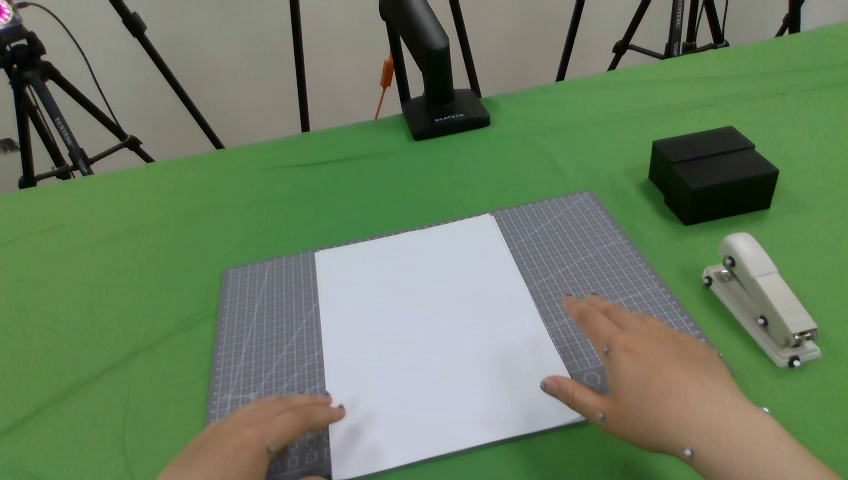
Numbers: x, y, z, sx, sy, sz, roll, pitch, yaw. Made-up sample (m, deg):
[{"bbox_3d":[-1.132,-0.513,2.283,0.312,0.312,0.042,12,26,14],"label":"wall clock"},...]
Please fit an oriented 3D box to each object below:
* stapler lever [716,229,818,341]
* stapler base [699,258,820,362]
[{"bbox_3d":[0.302,0.036,0.539,0.027,0.040,0.116,-14,40,-4],"label":"stapler lever"},{"bbox_3d":[0.304,0.054,0.556,0.041,0.025,0.129,-14,40,-4],"label":"stapler base"}]
